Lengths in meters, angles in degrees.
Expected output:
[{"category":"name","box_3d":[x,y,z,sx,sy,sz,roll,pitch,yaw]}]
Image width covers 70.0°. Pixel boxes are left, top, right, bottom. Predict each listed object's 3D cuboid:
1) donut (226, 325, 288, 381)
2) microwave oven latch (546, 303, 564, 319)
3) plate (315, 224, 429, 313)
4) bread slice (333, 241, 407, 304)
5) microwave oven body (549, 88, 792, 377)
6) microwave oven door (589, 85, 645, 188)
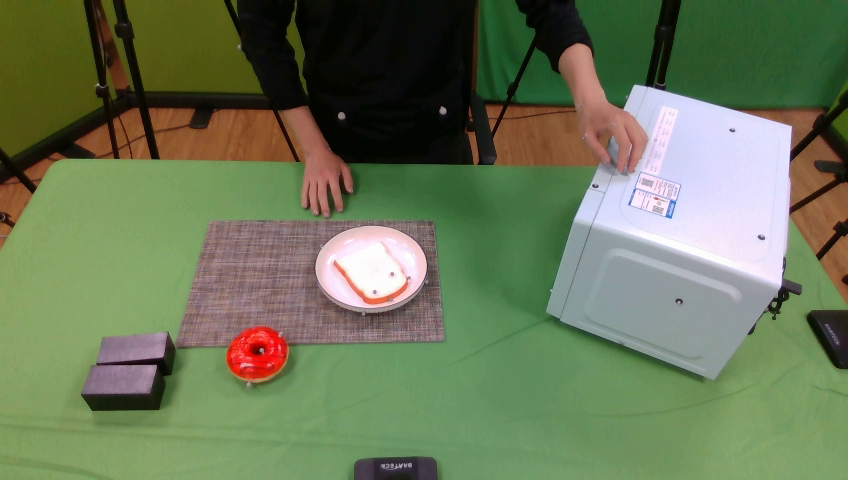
[{"category":"donut","box_3d":[-0.270,0.182,0.984,0.099,0.048,0.098,5,49,-5]},{"category":"microwave oven latch","box_3d":[0.242,0.102,1.081,0.030,0.029,0.079,22,48,17]},{"category":"plate","box_3d":[-0.096,0.055,1.121,0.208,0.039,0.206,2,46,-2]},{"category":"bread slice","box_3d":[-0.092,0.060,1.117,0.105,0.019,0.130,-24,52,-24]},{"category":"microwave oven body","box_3d":[0.456,-0.028,1.088,0.325,0.261,0.440,20,47,16]},{"category":"microwave oven door","box_3d":[0.342,-0.107,1.149,0.039,0.245,0.354,20,48,15]}]
